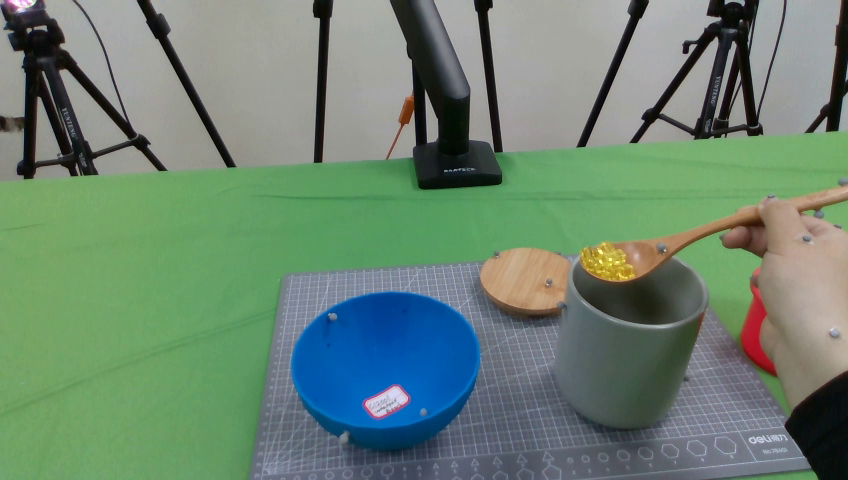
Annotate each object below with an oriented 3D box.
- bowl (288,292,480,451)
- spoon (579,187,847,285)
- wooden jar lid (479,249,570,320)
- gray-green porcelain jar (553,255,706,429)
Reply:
[{"bbox_3d":[-0.031,0.120,0.501,0.151,0.077,0.150,0,35,1],"label":"bowl"},{"bbox_3d":[0.206,-0.005,0.429,0.193,0.022,0.041,-19,38,10],"label":"spoon"},{"bbox_3d":[0.113,0.048,0.653,0.108,0.021,0.107,-1,34,1],"label":"wooden jar lid"},{"bbox_3d":[0.164,0.085,0.505,0.106,0.127,0.105,-1,35,1],"label":"gray-green porcelain jar"}]
